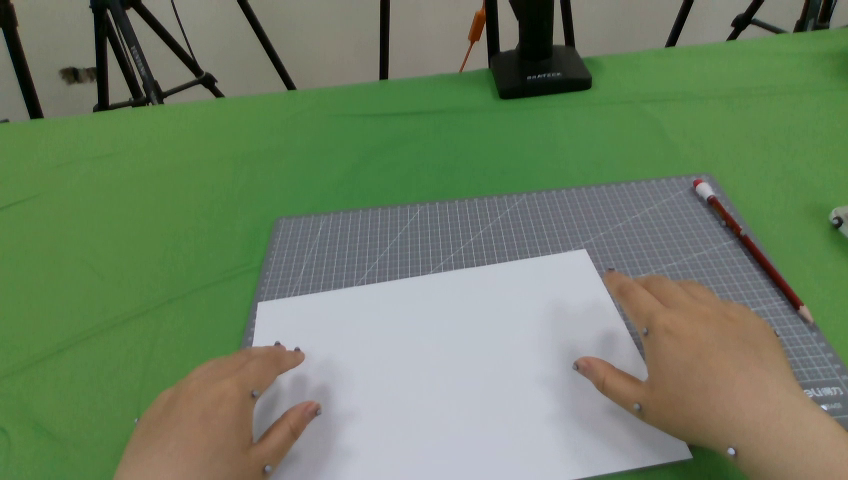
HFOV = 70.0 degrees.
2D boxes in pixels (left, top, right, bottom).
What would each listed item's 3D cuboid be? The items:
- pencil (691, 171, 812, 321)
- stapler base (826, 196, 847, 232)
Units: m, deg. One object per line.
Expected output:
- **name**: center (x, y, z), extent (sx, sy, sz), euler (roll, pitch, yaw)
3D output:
- **pencil**: center (0.279, -0.003, 0.526), extent (0.012, 0.012, 0.192), euler (-9, 42, -2)
- **stapler base**: center (0.391, -0.001, 0.501), extent (0.041, 0.025, 0.129), euler (-11, 42, 0)
